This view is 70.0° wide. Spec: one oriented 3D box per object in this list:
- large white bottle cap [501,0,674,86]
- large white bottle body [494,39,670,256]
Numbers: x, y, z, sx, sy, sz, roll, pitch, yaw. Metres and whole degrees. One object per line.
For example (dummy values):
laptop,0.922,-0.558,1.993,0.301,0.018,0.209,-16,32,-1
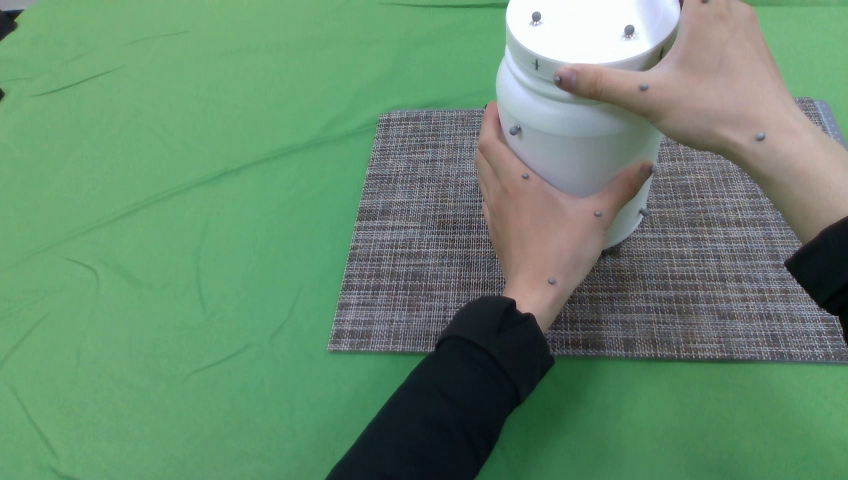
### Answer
large white bottle cap,0.110,-0.148,0.414,0.115,0.018,0.113,-4,54,6
large white bottle body,0.122,-0.090,0.490,0.130,0.186,0.129,-4,50,5
